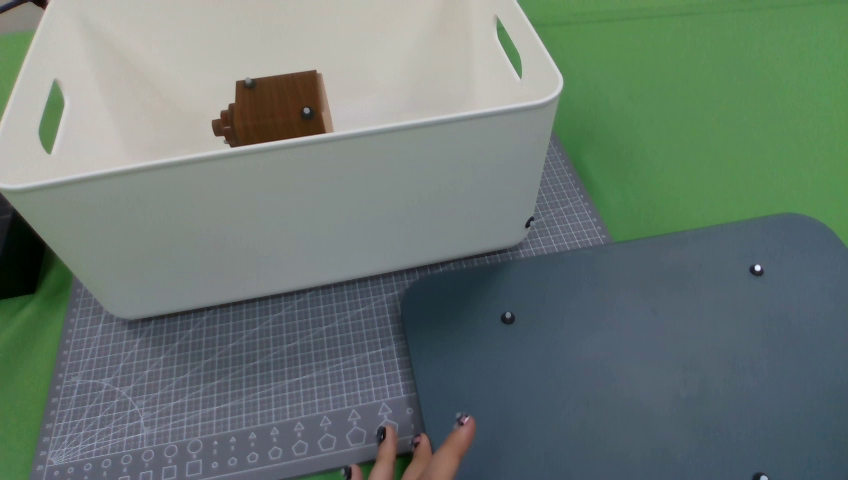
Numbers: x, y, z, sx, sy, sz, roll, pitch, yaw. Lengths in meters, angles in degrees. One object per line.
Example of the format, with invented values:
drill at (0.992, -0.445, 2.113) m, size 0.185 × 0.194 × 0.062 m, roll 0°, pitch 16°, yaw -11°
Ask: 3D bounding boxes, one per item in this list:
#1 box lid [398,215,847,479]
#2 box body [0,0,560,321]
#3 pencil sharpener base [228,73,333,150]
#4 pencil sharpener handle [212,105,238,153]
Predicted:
box lid at (0.177, 0.103, 0.423) m, size 0.372 × 0.015 × 0.260 m, roll -9°, pitch 50°, yaw -7°
box body at (-0.103, -0.097, 0.505) m, size 0.364 × 0.162 × 0.251 m, roll -11°, pitch 49°, yaw -7°
pencil sharpener base at (-0.116, -0.078, 0.517) m, size 0.077 × 0.108 × 0.060 m, roll -9°, pitch 50°, yaw -5°
pencil sharpener handle at (-0.167, -0.079, 0.504) m, size 0.031 × 0.068 × 0.035 m, roll -9°, pitch 53°, yaw -5°
